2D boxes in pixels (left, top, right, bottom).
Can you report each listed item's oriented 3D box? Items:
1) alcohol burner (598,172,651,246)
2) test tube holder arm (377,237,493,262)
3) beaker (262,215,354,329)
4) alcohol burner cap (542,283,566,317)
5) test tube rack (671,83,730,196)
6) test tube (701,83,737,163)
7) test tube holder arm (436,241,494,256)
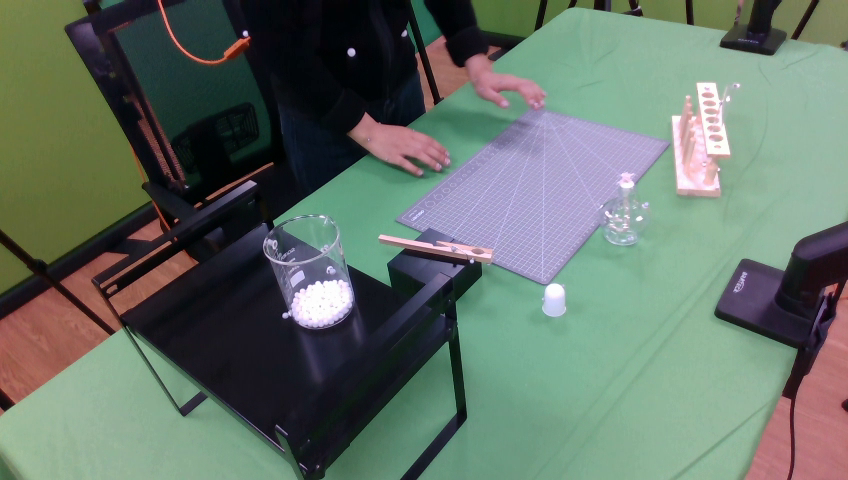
[{"bbox_3d":[0.306,-0.051,0.918,0.078,0.119,0.077,-5,40,5],"label":"alcohol burner"},{"bbox_3d":[0.013,0.013,0.887,0.177,0.015,0.013,6,44,17],"label":"test tube holder arm"},{"bbox_3d":[-0.112,0.034,0.616,0.073,0.101,0.084,13,44,23],"label":"beaker"},{"bbox_3d":[0.181,0.080,0.839,0.034,0.048,0.033,-4,40,4],"label":"alcohol burner cap"},{"bbox_3d":[0.482,-0.184,1.067,0.066,0.085,0.242,5,42,15],"label":"test tube rack"},{"bbox_3d":[0.485,-0.190,0.997,0.017,0.151,0.017,-1,44,2],"label":"test tube"},{"bbox_3d":[0.058,0.015,0.878,0.087,0.015,0.010,8,44,18],"label":"test tube holder arm"}]
